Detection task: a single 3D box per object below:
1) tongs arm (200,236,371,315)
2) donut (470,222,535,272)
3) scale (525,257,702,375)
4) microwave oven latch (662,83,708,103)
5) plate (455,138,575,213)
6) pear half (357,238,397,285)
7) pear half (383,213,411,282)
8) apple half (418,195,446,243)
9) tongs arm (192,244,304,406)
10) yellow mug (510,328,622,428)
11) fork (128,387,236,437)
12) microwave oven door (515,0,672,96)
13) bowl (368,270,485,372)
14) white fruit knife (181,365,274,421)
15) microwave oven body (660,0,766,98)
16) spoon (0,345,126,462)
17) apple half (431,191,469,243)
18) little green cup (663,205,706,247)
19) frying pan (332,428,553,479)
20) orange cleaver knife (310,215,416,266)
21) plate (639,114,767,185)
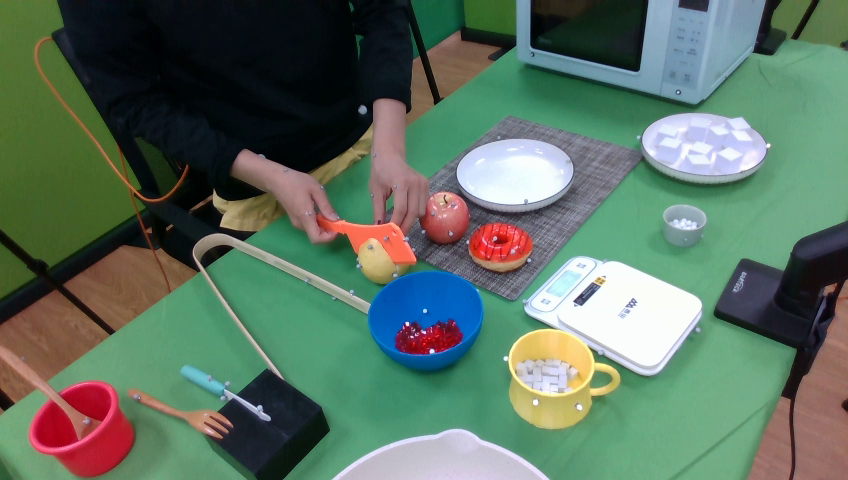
[{"bbox_3d":[-0.209,0.062,0.924,0.381,0.027,0.051,23,54,32],"label":"tongs arm"},{"bbox_3d":[0.119,0.009,0.923,0.099,0.048,0.098,-4,39,3],"label":"donut"},{"bbox_3d":[0.254,0.091,0.821,0.199,0.032,0.149,28,51,35],"label":"scale"},{"bbox_3d":[0.517,-0.296,1.204,0.078,0.029,0.030,28,52,35],"label":"microwave oven latch"},{"bbox_3d":[0.159,-0.111,1.063,0.209,0.038,0.208,-4,40,4],"label":"plate"},{"bbox_3d":[-0.076,0.037,0.892,0.070,0.088,0.031,18,53,23],"label":"pear half"},{"bbox_3d":[-0.052,0.004,0.903,0.076,0.110,0.056,18,34,16],"label":"pear half"},{"bbox_3d":[0.008,-0.028,0.959,0.033,0.081,0.080,-14,41,-12],"label":"apple half"},{"bbox_3d":[-0.268,0.111,0.884,0.028,0.028,0.384,-36,47,-17],"label":"tongs arm"},{"bbox_3d":[0.168,0.164,0.722,0.130,0.064,0.099,0,40,8],"label":"yellow mug"},{"bbox_3d":[-0.305,0.207,0.744,0.206,0.019,0.028,3,41,36],"label":"fork"},{"bbox_3d":[0.343,-0.454,1.259,0.353,0.245,0.039,26,51,33],"label":"microwave oven door"},{"bbox_3d":[0.007,0.118,0.791,0.151,0.077,0.150,-5,40,4],"label":"bowl"},{"bbox_3d":[-0.245,0.187,0.747,0.205,0.027,0.016,9,42,40],"label":"white fruit knife"},{"bbox_3d":[0.472,-0.513,1.317,0.438,0.261,0.327,26,51,34],"label":"microwave oven body"},{"bbox_3d":[-0.434,0.192,0.720,0.194,0.021,0.042,47,53,-7],"label":"spoon"},{"bbox_3d":[0.045,-0.038,0.967,0.053,0.075,0.080,-14,37,-11],"label":"apple half"},{"bbox_3d":[0.396,-0.020,0.926,0.061,0.039,0.061,-4,40,4],"label":"little green cup"},{"bbox_3d":[-0.089,0.306,0.564,0.487,0.103,0.306,10,41,7],"label":"frying pan"},{"bbox_3d":[-0.095,0.000,0.901,0.209,0.077,0.012,10,36,41],"label":"orange cleaver knife"},{"bbox_3d":[0.489,-0.157,1.074,0.207,0.039,0.206,-4,40,4],"label":"plate"}]
